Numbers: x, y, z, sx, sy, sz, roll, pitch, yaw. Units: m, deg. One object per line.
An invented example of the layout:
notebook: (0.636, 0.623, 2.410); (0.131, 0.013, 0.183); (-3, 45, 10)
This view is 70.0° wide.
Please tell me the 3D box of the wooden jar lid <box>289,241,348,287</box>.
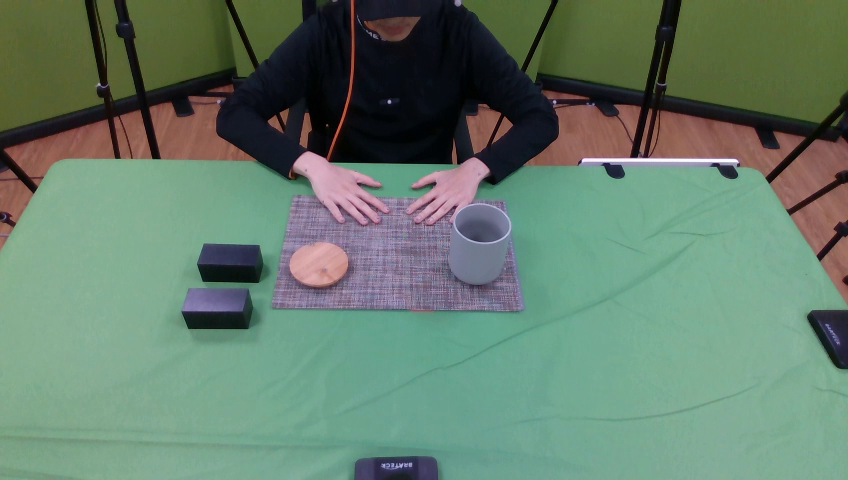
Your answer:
wooden jar lid: (-0.196, 0.047, 1.133); (0.108, 0.021, 0.107); (3, 45, -2)

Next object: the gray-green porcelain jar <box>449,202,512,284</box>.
gray-green porcelain jar: (0.101, 0.010, 1.116); (0.106, 0.127, 0.105); (2, 47, -2)
